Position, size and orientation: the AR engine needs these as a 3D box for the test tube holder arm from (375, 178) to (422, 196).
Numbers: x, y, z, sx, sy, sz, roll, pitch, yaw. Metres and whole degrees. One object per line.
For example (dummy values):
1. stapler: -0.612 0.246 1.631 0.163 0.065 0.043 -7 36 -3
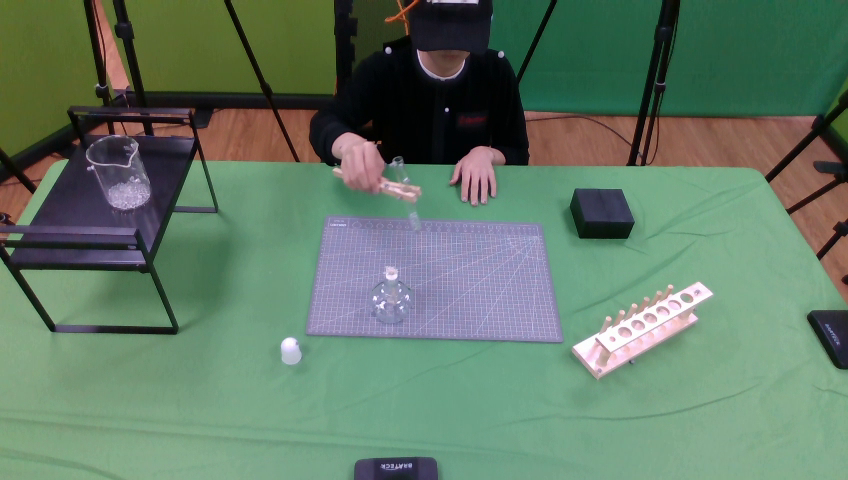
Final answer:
1. test tube holder arm: -0.043 -0.086 0.979 0.087 0.015 0.010 13 44 26

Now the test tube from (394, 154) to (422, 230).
1. test tube: -0.024 -0.074 0.970 0.017 0.151 0.017 -8 43 8

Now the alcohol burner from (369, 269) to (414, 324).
1. alcohol burner: -0.056 0.089 1.037 0.078 0.120 0.077 1 48 -1

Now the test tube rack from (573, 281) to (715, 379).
1. test tube rack: 0.378 0.140 1.038 0.242 0.085 0.066 -22 51 -23

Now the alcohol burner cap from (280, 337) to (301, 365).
1. alcohol burner cap: -0.220 0.179 0.993 0.034 0.048 0.033 3 46 -2

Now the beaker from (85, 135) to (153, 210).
1. beaker: -0.475 -0.102 0.957 0.083 0.101 0.074 34 53 26

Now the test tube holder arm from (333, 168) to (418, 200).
1. test tube holder arm: -0.084 -0.094 0.998 0.177 0.015 0.013 18 46 31
